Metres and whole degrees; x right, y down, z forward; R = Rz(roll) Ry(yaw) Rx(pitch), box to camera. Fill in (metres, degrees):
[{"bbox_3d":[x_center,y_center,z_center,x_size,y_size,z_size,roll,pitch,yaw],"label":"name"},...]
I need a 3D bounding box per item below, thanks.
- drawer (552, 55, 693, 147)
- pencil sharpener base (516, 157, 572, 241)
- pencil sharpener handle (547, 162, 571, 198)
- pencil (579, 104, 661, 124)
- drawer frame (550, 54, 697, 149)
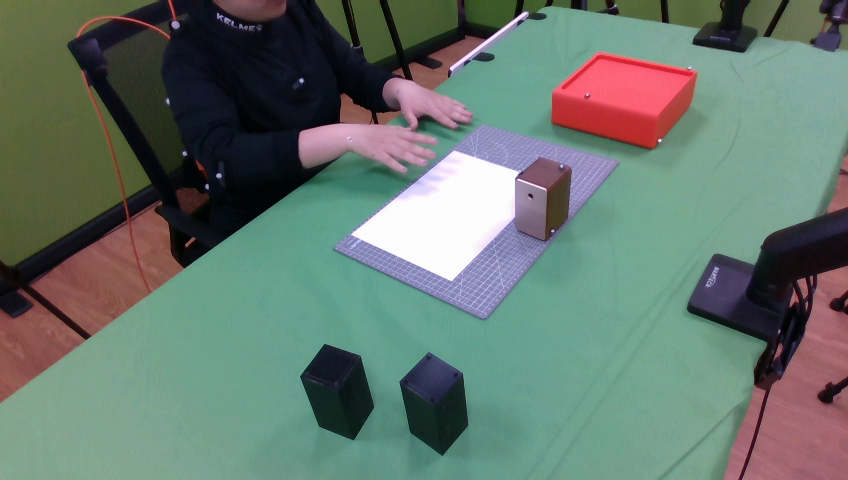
[{"bbox_3d":[0.389,-0.279,1.196,0.210,0.073,0.195,24,49,31],"label":"drawer"},{"bbox_3d":[0.189,-0.065,0.948,0.061,0.107,0.077,24,49,33],"label":"pencil sharpener base"},{"bbox_3d":[0.221,-0.101,0.968,0.035,0.068,0.031,19,46,37],"label":"pencil sharpener handle"},{"bbox_3d":[0.395,-0.255,1.212,0.195,0.012,0.012,-14,40,-17],"label":"pencil"},{"bbox_3d":[0.391,-0.280,1.194,0.212,0.083,0.202,23,48,30],"label":"drawer frame"}]
